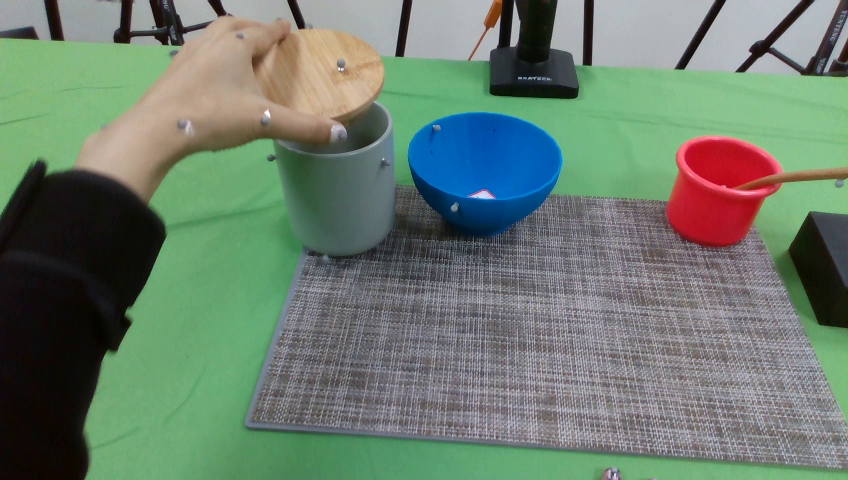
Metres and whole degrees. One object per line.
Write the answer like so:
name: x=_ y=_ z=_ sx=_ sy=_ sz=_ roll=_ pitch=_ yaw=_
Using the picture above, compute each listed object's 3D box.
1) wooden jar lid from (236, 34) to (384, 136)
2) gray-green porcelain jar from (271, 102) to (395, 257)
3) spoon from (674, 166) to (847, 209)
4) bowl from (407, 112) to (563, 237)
wooden jar lid: x=-0.083 y=-0.115 z=0.451 sx=0.108 sy=0.021 sz=0.107 roll=0 pitch=51 yaw=0
gray-green porcelain jar: x=-0.080 y=-0.055 z=0.570 sx=0.106 sy=0.127 sz=0.105 roll=1 pitch=43 yaw=0
spoon: x=0.314 y=-0.050 z=0.559 sx=0.041 sy=0.193 sz=0.021 roll=-28 pitch=96 yaw=-25
bowl: x=0.058 y=-0.056 z=0.609 sx=0.151 sy=0.077 sz=0.150 roll=1 pitch=43 yaw=0
